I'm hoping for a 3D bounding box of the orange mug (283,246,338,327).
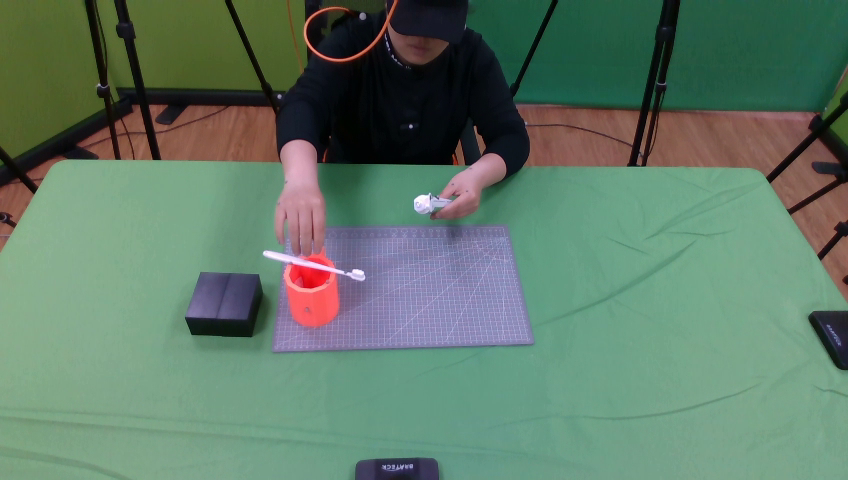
[{"bbox_3d":[-0.192,0.074,1.056,0.083,0.101,0.125,5,50,1],"label":"orange mug"}]

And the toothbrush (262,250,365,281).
[{"bbox_3d":[-0.186,0.041,1.015,0.182,0.017,0.014,13,55,8],"label":"toothbrush"}]

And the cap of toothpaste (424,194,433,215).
[{"bbox_3d":[0.007,-0.063,1.064,0.011,0.037,0.037,5,46,11],"label":"cap of toothpaste"}]

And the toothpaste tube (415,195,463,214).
[{"bbox_3d":[0.025,-0.067,1.154,0.055,0.165,0.034,-19,85,23],"label":"toothpaste tube"}]
